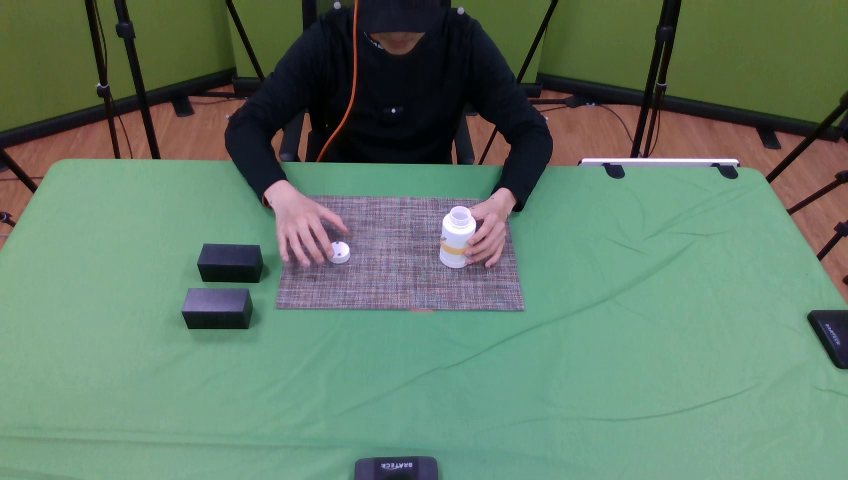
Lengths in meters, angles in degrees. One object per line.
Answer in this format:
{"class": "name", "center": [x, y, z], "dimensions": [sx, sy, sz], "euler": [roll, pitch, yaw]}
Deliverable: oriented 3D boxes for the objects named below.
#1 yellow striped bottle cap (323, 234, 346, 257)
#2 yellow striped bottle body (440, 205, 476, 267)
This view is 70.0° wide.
{"class": "yellow striped bottle cap", "center": [-0.168, 0.011, 1.142], "dimensions": [0.044, 0.019, 0.044], "euler": [2, 57, -3]}
{"class": "yellow striped bottle body", "center": [0.064, -0.010, 1.136], "dimensions": [0.063, 0.121, 0.062], "euler": [2, 46, -1]}
